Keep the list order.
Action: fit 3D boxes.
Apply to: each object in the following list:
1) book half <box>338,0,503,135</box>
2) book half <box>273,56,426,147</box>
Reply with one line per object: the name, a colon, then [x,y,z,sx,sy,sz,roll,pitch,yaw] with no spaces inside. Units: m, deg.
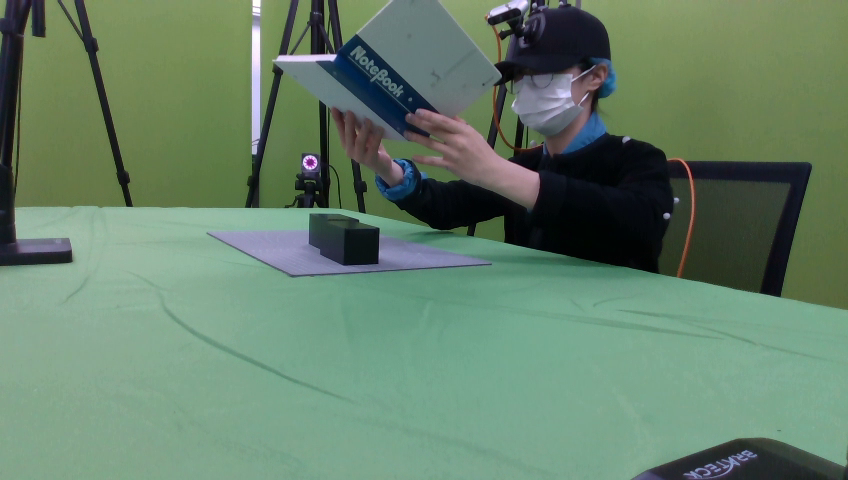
book half: [0.002,-0.241,0.838,0.143,0.007,0.211,-34,-42,20]
book half: [-0.108,-0.207,0.908,0.148,0.016,0.211,18,-11,44]
